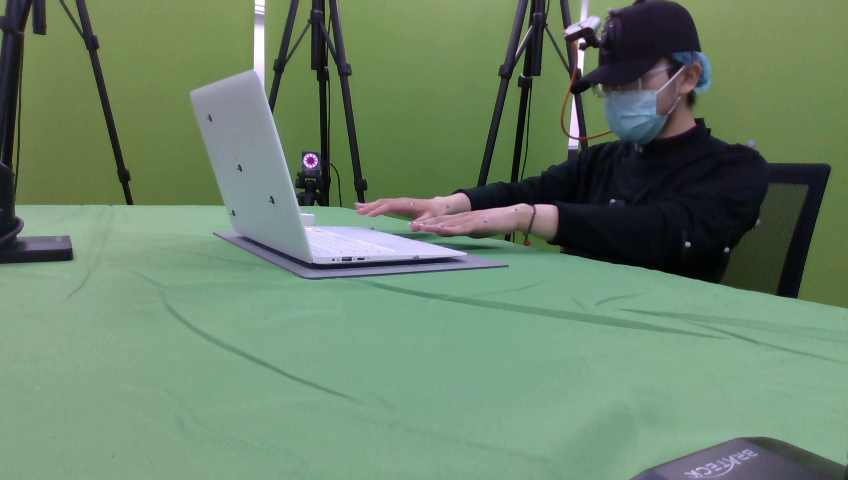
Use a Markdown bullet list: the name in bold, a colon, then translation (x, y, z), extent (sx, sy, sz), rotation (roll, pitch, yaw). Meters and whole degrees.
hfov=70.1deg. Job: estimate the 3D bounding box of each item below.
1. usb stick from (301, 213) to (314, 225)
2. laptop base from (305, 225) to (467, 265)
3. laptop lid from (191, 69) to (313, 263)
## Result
- **usb stick**: translation (-0.255, -0.042, 1.232), extent (0.059, 0.027, 0.021), rotation (-7, 13, -41)
- **laptop base**: translation (-0.126, 0.005, 0.936), extent (0.237, 0.023, 0.352), rotation (2, 6, -33)
- **laptop lid**: translation (-0.252, -0.102, 0.839), extent (0.013, 0.242, 0.355), rotation (-22, 20, -28)
